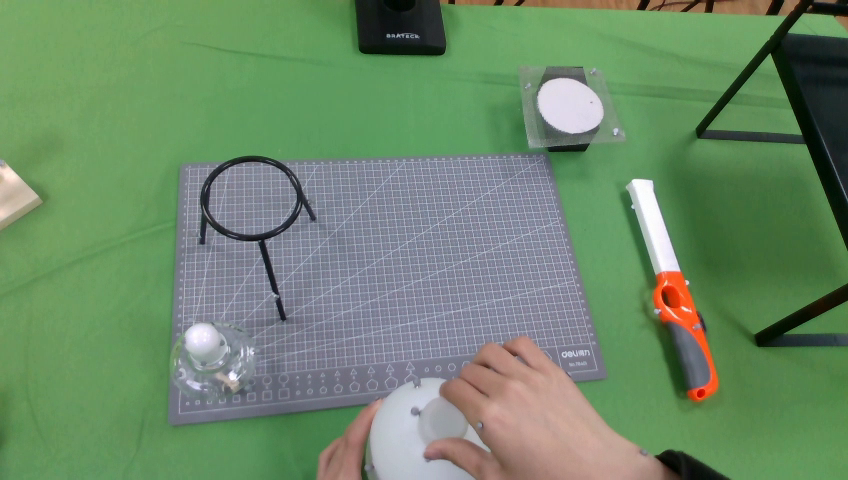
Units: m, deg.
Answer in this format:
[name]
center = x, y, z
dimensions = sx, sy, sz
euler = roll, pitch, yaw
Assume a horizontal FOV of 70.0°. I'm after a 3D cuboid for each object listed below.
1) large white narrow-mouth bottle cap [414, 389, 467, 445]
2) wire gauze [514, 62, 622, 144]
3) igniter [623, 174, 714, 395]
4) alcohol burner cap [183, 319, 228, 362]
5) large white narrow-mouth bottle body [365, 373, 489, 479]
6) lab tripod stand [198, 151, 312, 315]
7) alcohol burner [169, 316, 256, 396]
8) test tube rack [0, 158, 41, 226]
[large white narrow-mouth bottle cap]
center = 0.011, 0.128, 0.436
dimensions = 0.038, 0.024, 0.037
euler = 3, 63, -6
[wire gauze]
center = 0.178, -0.175, 0.761
dimensions = 0.122, 0.011, 0.124
euler = -2, 65, -10
[igniter]
center = 0.285, 0.043, 0.712
dimensions = 0.057, 0.025, 0.274
euler = 2, 63, -20
[alcohol burner cap]
center = -0.191, 0.086, 0.525
dimensions = 0.034, 0.048, 0.033
euler = 3, 69, -7
[large white narrow-mouth bottle body]
center = 0.002, 0.168, 0.512
dimensions = 0.102, 0.196, 0.101
euler = 3, 63, -6
[lab tripod stand]
center = -0.164, -0.012, 0.607
dimensions = 0.149, 0.132, 0.147
euler = 4, 64, -9
[alcohol burner]
center = -0.196, 0.101, 0.557
dimensions = 0.078, 0.120, 0.077
euler = 5, 61, -8
[test tube rack]
center = -0.515, -0.008, 0.580
dimensions = 0.066, 0.085, 0.242
euler = 41, 65, 12
